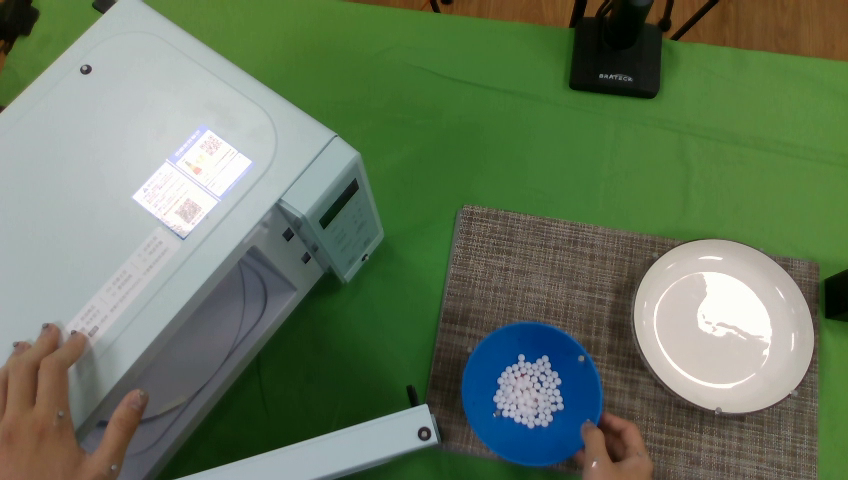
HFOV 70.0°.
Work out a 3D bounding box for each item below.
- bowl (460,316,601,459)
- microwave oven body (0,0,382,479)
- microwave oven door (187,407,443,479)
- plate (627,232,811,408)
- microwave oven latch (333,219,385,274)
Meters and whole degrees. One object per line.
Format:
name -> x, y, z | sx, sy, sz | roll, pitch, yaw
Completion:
bowl -> 0.115, 0.166, 0.682 | 0.151, 0.077, 0.150 | 0, 73, 2
microwave oven body -> -0.310, 0.026, 0.643 | 0.324, 0.261, 0.441 | 35, 78, 11
microwave oven door -> -0.158, 0.222, 0.572 | 0.356, 0.245, 0.039 | -16, 72, -3
plate -> 0.342, 0.094, 0.717 | 0.207, 0.039, 0.206 | 0, 73, 2
microwave oven latch -> -0.081, 0.002, 0.744 | 0.030, 0.029, 0.079 | 37, 78, 12
